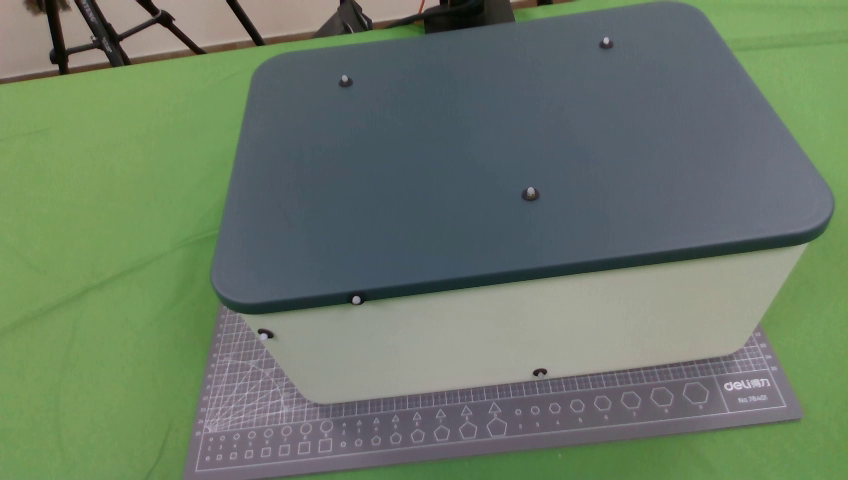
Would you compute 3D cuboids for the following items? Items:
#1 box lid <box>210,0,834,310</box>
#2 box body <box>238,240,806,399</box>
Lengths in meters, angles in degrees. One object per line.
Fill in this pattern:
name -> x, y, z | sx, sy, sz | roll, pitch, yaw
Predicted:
box lid -> 0.045, -0.079, 0.424 | 0.371, 0.015, 0.260 | -7, 49, 3
box body -> 0.057, -0.030, 0.480 | 0.364, 0.162, 0.251 | -8, 49, 3
